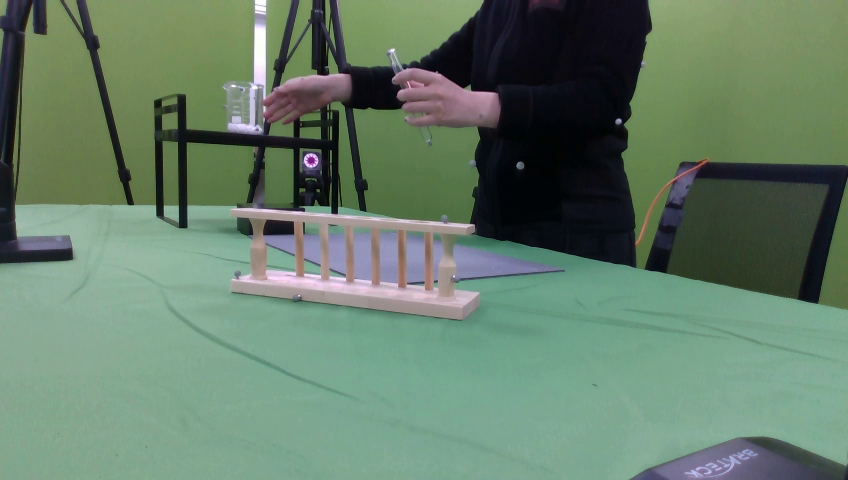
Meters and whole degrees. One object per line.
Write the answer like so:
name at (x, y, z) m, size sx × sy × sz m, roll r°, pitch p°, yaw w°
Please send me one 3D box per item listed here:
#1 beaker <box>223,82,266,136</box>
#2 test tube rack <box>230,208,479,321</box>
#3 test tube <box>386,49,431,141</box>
beaker at (-0.362, -0.262, 1.214) m, size 0.084 × 0.100 × 0.074 m, roll 2°, pitch 7°, yaw -1°
test tube rack at (-0.069, 0.017, 0.598) m, size 0.242 × 0.085 × 0.067 m, roll 5°, pitch 8°, yaw 18°
test tube at (-0.023, -0.224, 0.939) m, size 0.017 × 0.150 × 0.017 m, roll -23°, pitch 11°, yaw 5°
